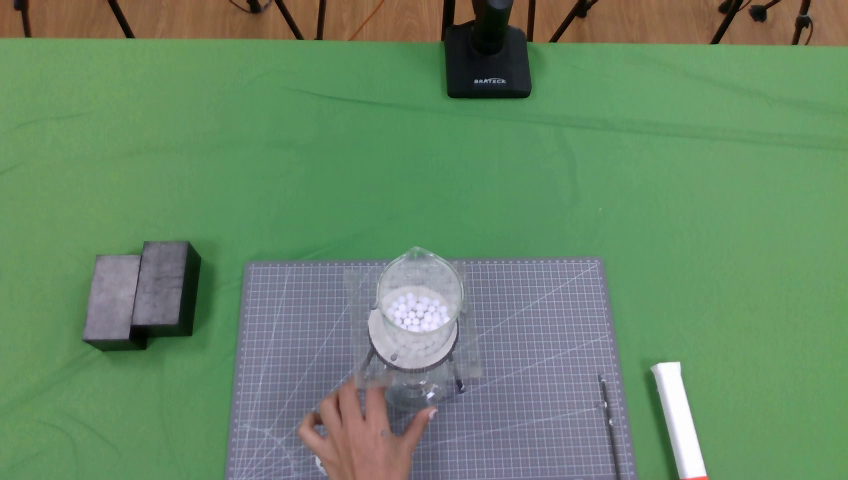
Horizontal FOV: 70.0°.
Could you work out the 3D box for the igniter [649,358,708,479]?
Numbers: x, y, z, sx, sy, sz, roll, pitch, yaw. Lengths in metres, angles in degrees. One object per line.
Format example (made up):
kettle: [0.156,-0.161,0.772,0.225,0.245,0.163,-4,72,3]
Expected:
igniter: [0.295,0.268,0.666,0.057,0.025,0.274,1,67,-15]

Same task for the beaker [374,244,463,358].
beaker: [-0.007,0.060,0.549,0.074,0.101,0.083,-4,66,-5]

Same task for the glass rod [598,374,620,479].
glass rod: [0.212,0.250,0.676,0.008,0.008,0.198,-1,68,-4]

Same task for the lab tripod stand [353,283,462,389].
lab tripod stand: [-0.016,0.106,0.653,0.148,0.132,0.147,1,66,-1]

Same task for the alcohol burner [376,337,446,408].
alcohol burner: [-0.014,0.138,0.651,0.078,0.120,0.077,1,65,-1]

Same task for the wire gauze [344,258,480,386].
wire gauze: [-0.014,0.078,0.593,0.125,0.011,0.120,-5,65,-4]

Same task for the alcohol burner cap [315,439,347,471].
alcohol burner cap: [-0.101,0.228,0.647,0.034,0.048,0.033,1,67,-2]
